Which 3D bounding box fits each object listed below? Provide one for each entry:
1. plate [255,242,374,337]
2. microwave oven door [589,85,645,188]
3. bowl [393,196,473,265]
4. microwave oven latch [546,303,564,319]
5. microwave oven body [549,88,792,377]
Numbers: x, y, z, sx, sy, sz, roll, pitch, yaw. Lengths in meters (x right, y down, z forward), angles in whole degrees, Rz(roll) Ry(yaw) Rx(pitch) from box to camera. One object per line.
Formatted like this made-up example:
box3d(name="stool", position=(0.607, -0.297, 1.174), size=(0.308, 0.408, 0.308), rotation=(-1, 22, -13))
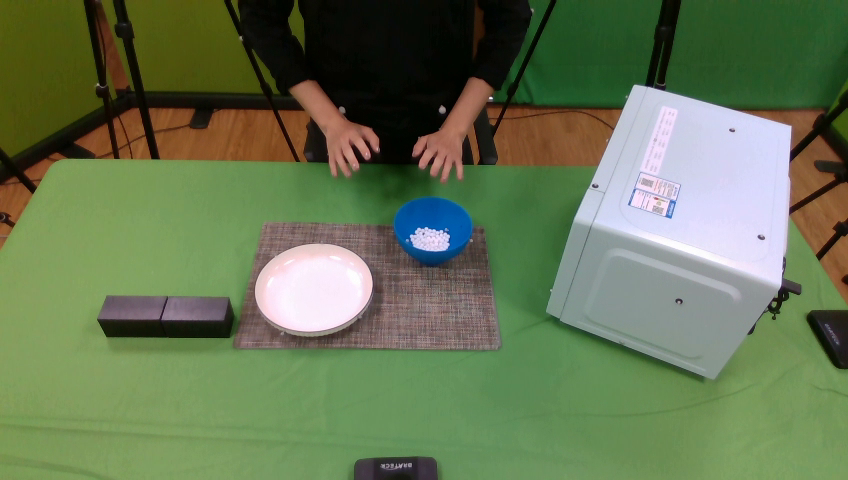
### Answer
box3d(name="plate", position=(-0.192, 0.090, 1.079), size=(0.208, 0.039, 0.206), rotation=(2, 46, -2))
box3d(name="microwave oven door", position=(0.342, -0.107, 1.149), size=(0.039, 0.245, 0.354), rotation=(20, 48, 15))
box3d(name="bowl", position=(0.015, -0.005, 1.159), size=(0.151, 0.077, 0.150), rotation=(2, 46, -2))
box3d(name="microwave oven latch", position=(0.242, 0.102, 1.081), size=(0.030, 0.029, 0.079), rotation=(21, 48, 17))
box3d(name="microwave oven body", position=(0.456, -0.028, 1.088), size=(0.325, 0.261, 0.440), rotation=(20, 47, 16))
